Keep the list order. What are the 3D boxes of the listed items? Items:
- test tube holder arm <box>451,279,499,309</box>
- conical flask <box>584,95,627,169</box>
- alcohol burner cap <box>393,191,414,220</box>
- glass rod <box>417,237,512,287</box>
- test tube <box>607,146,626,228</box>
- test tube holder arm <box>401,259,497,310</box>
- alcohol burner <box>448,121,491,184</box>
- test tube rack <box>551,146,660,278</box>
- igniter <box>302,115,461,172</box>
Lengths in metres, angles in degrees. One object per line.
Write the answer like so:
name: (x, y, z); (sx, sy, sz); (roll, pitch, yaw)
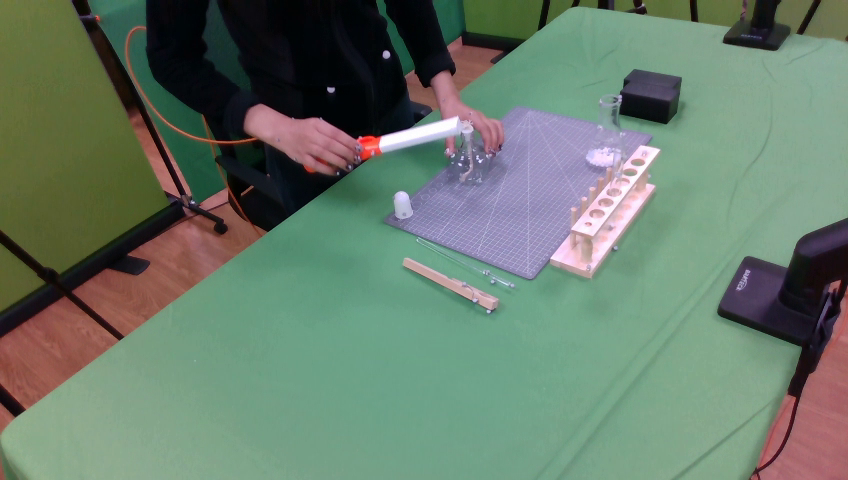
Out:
test tube holder arm: (0.071, 0.078, 0.883); (0.087, 0.015, 0.010); (23, 15, 34)
conical flask: (0.323, -0.192, 1.066); (0.075, 0.122, 0.075); (-6, 40, 5)
alcohol burner cap: (-0.037, -0.062, 1.045); (0.034, 0.048, 0.033); (-6, 41, 5)
glass rod: (0.059, 0.032, 0.945); (0.198, 0.008, 0.008); (26, 52, 38)
test tube: (0.283, -0.074, 0.892); (0.017, 0.151, 0.017); (-5, 44, 6)
test tube holder arm: (0.033, 0.064, 0.903); (0.177, 0.015, 0.013); (23, 15, 33)
alcohol burner: (0.081, -0.160, 1.083); (0.078, 0.119, 0.077); (-4, 40, 4)
test tube rack: (0.286, -0.053, 0.943); (0.066, 0.085, 0.243); (21, 49, 32)
igniter: (-0.074, -0.146, 0.933); (0.275, 0.025, 0.057); (-10, 40, 22)
